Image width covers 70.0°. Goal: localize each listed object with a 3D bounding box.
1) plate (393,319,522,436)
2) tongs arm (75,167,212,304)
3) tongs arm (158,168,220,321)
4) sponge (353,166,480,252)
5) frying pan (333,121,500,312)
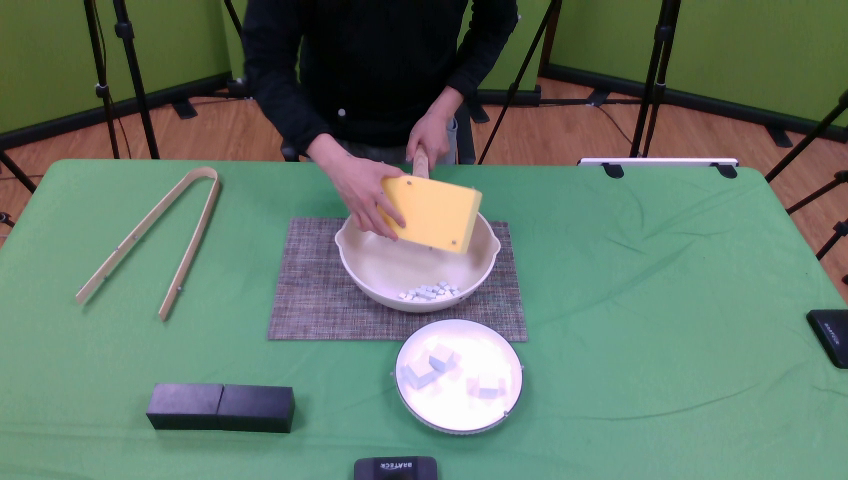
[{"bbox_3d":[0.053,0.222,0.979,0.208,0.039,0.206,3,46,-2],"label":"plate"},{"bbox_3d":[-0.526,-0.021,1.167,0.051,0.026,0.383,13,46,7],"label":"tongs arm"},{"bbox_3d":[-0.446,-0.006,1.163,0.028,0.028,0.385,1,46,1],"label":"tongs arm"},{"bbox_3d":[-0.014,-0.056,1.112,0.206,0.118,0.061,13,2,14],"label":"sponge"},{"bbox_3d":[-0.011,-0.063,1.195,0.307,0.103,0.485,4,55,-2],"label":"frying pan"}]
